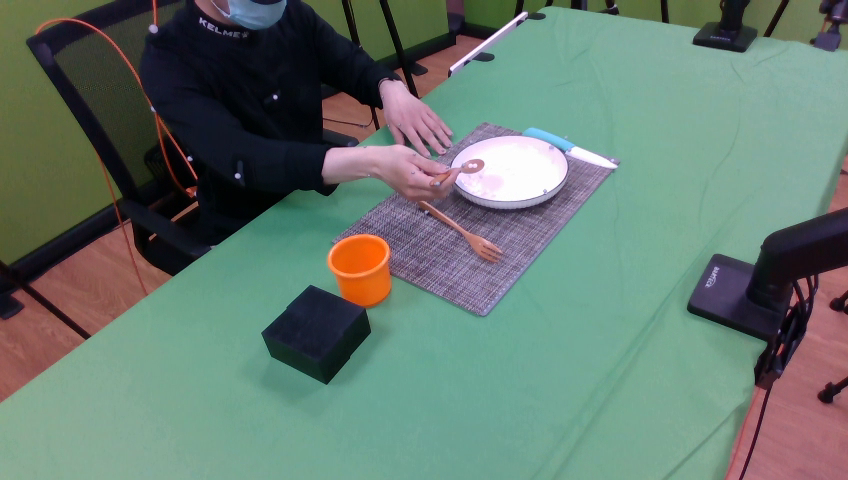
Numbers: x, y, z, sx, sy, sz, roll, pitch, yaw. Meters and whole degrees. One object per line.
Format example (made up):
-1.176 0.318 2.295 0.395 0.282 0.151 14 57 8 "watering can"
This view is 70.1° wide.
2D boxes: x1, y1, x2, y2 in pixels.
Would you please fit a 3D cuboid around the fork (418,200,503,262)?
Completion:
0.053 -0.021 0.981 0.019 0.028 0.205 8 21 -43 "fork"

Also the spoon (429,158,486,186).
0.051 -0.111 0.976 0.041 0.021 0.194 9 17 25 "spoon"

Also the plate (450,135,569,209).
0.149 -0.117 1.065 0.209 0.038 0.208 -3 41 3 "plate"

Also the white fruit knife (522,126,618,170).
0.272 -0.172 1.132 0.205 0.016 0.027 32 82 34 "white fruit knife"
